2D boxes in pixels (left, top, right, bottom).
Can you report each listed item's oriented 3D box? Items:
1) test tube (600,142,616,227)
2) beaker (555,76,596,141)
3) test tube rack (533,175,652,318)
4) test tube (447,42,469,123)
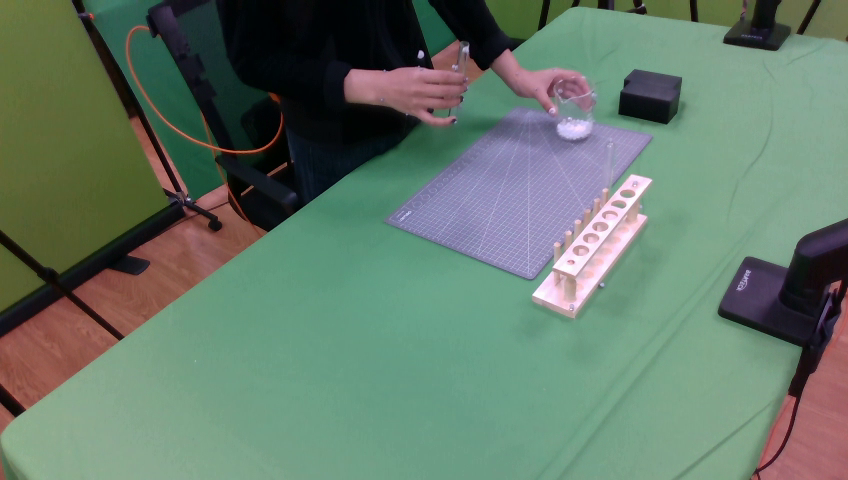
[{"bbox_3d":[0.275,-0.081,0.908,0.017,0.151,0.017,-5,40,5],"label":"test tube"},{"bbox_3d":[0.284,-0.244,1.140,0.073,0.101,0.084,20,53,32],"label":"beaker"},{"bbox_3d":[0.251,-0.001,0.888,0.066,0.085,0.243,22,49,33],"label":"test tube rack"},{"bbox_3d":[0.056,-0.258,1.005,0.017,0.151,0.017,4,47,-4],"label":"test tube"}]
